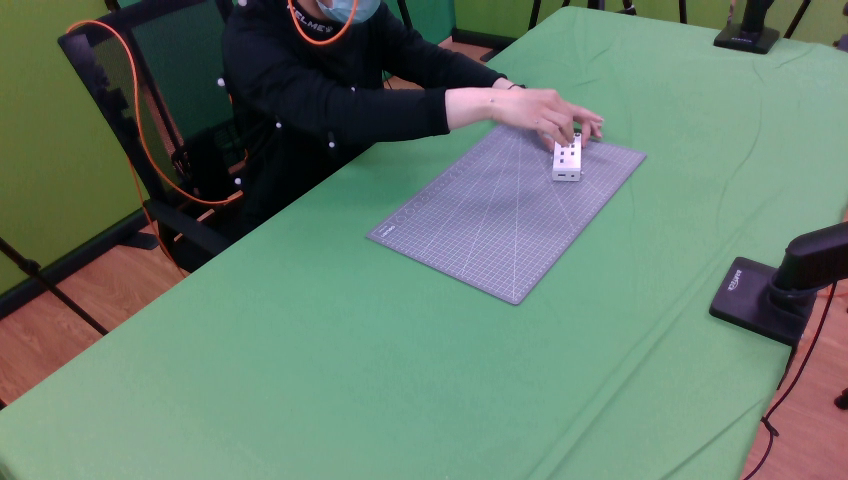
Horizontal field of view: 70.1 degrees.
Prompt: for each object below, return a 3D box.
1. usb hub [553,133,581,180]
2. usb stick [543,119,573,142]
[{"bbox_3d":[0.263,-0.154,1.104,0.049,0.025,0.125,3,42,12],"label":"usb hub"},{"bbox_3d":[0.239,-0.190,1.056,0.059,0.027,0.021,15,29,-28],"label":"usb stick"}]
